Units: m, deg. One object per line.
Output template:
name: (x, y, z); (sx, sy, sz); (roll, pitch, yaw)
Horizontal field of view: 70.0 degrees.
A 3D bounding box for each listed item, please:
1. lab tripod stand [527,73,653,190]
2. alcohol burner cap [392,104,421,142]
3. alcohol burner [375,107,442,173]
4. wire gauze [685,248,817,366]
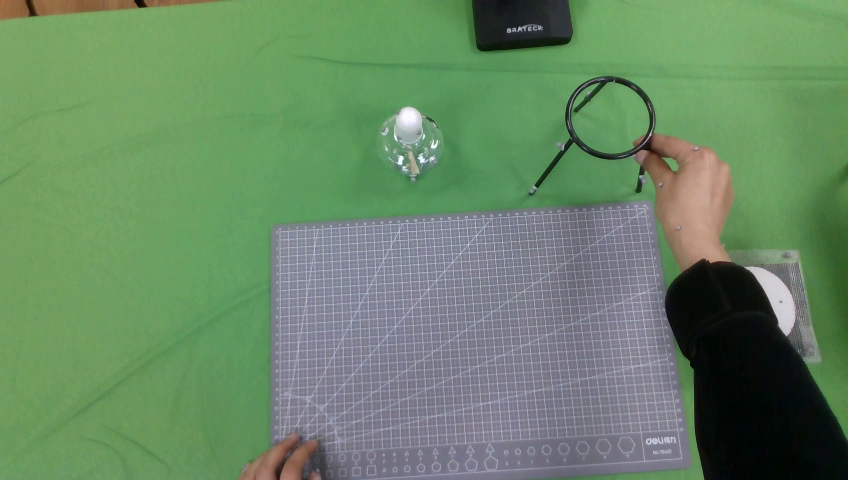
lab tripod stand: (0.188, -0.110, 0.665); (0.148, 0.132, 0.147); (0, 76, -1)
alcohol burner cap: (-0.018, -0.127, 0.646); (0.034, 0.048, 0.033); (0, 82, -3)
alcohol burner: (-0.017, -0.120, 0.680); (0.078, 0.119, 0.077); (0, 77, -1)
wire gauze: (0.340, 0.069, 0.636); (0.121, 0.011, 0.124); (-1, 76, 3)
